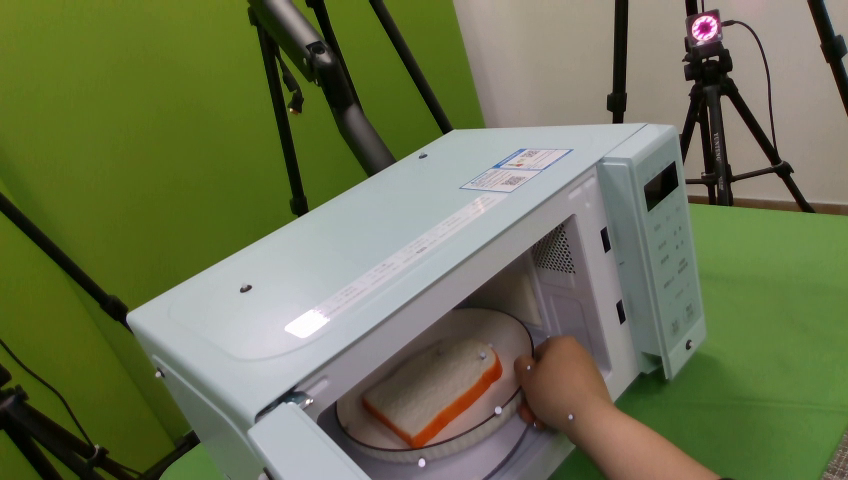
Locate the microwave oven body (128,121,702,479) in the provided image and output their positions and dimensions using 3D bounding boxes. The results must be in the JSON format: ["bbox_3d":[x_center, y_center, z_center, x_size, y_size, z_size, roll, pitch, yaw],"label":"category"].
[{"bbox_3d":[0.010,0.087,0.605,0.441,0.262,0.323,-35,28,-31],"label":"microwave oven body"}]

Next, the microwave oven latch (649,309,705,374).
[{"bbox_3d":[0.260,0.101,0.624,0.079,0.030,0.030,-35,28,-30],"label":"microwave oven latch"}]

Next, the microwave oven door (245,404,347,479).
[{"bbox_3d":[0.044,0.227,0.247,0.039,0.245,0.353,-32,26,-26],"label":"microwave oven door"}]

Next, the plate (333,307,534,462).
[{"bbox_3d":[0.012,0.143,0.607,0.209,0.038,0.207,-18,24,9],"label":"plate"}]

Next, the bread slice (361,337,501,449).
[{"bbox_3d":[0.010,0.144,0.610,0.131,0.019,0.104,-33,28,-25],"label":"bread slice"}]
